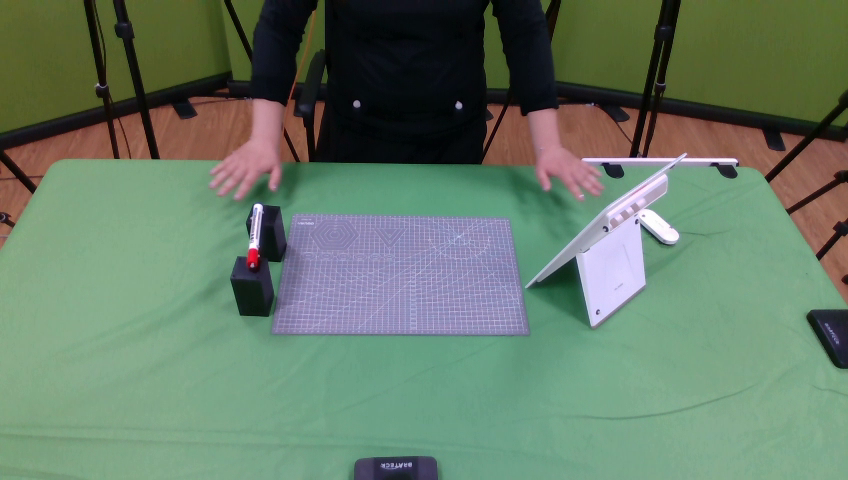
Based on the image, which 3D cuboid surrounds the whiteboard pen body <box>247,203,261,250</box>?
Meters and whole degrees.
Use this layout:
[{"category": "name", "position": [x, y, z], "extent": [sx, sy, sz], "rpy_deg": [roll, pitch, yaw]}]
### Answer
[{"category": "whiteboard pen body", "position": [-0.295, -0.014, 1.052], "extent": [0.017, 0.017, 0.139], "rpy_deg": [-2, 45, -7]}]

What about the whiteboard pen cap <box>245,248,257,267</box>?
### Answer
[{"category": "whiteboard pen cap", "position": [-0.288, 0.028, 1.010], "extent": [0.017, 0.017, 0.032], "rpy_deg": [-2, 44, -6]}]

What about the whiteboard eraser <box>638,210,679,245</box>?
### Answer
[{"category": "whiteboard eraser", "position": [0.485, -0.027, 1.260], "extent": [0.041, 0.019, 0.100], "rpy_deg": [-21, 50, -21]}]

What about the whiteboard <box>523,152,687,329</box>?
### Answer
[{"category": "whiteboard", "position": [0.346, 0.025, 1.046], "extent": [0.217, 0.306, 0.143], "rpy_deg": [-30, 74, -29]}]
